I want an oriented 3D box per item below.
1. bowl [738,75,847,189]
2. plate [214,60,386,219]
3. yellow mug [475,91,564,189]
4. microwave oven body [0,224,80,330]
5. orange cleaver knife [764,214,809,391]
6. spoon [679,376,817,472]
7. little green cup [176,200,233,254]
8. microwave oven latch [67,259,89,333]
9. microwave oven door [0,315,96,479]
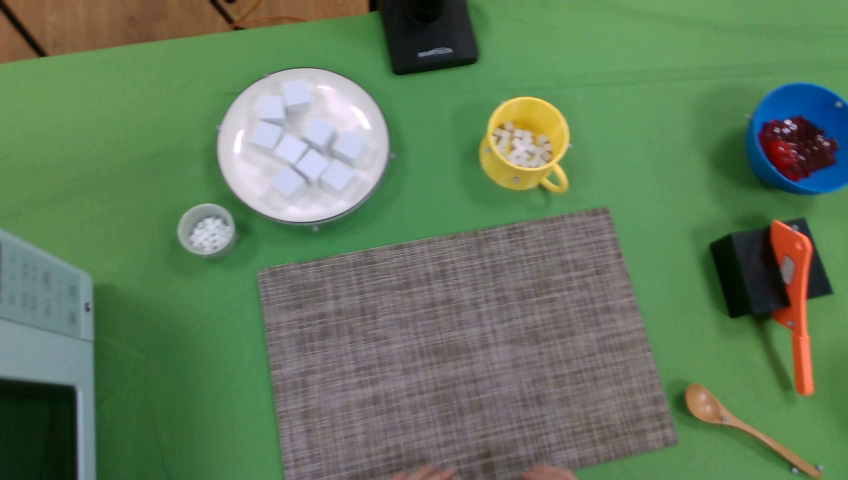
[{"bbox_3d":[0.471,-0.128,0.789,0.151,0.077,0.150,1,76,-4],"label":"bowl"},{"bbox_3d":[-0.151,-0.123,0.755,0.208,0.039,0.206,1,75,-4],"label":"plate"},{"bbox_3d":[0.128,-0.116,0.763,0.100,0.064,0.130,-39,83,-13],"label":"yellow mug"},{"bbox_3d":[-0.500,0.225,0.514,0.326,0.261,0.439,-7,77,-7],"label":"microwave oven body"},{"bbox_3d":[0.436,0.075,0.731,0.012,0.077,0.212,-10,100,-3],"label":"orange cleaver knife"},{"bbox_3d":[0.385,0.223,0.719,0.193,0.022,0.041,31,56,4],"label":"spoon"},{"bbox_3d":[-0.256,-0.013,0.715,0.061,0.039,0.061,2,76,-6],"label":"little green cup"},{"bbox_3d":[-0.388,0.062,0.666,0.030,0.029,0.078,-7,77,-7],"label":"microwave oven latch"},{"bbox_3d":[-0.349,0.246,0.517,0.039,0.244,0.354,-8,76,-6],"label":"microwave oven door"}]
